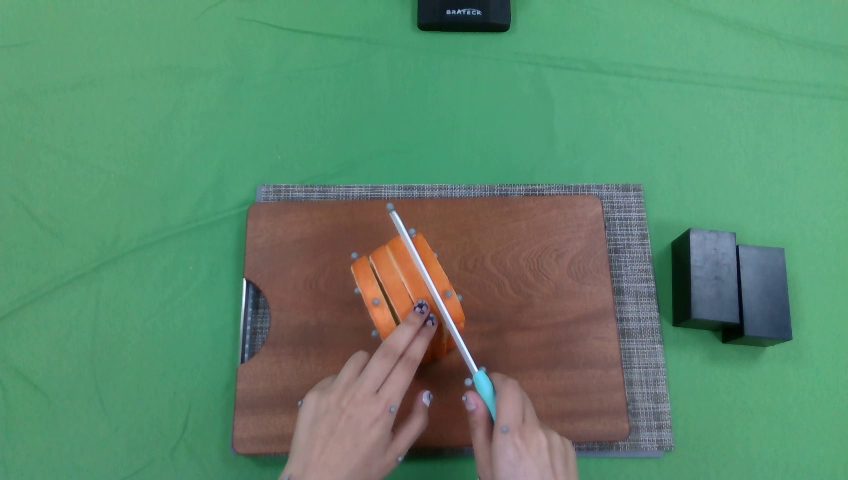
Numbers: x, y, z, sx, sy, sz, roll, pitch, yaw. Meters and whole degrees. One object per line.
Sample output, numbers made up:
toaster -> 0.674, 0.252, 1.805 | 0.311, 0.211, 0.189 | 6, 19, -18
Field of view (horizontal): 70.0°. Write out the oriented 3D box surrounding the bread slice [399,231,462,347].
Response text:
bread slice -> 0.005, 0.049, 0.586 | 0.018, 0.135, 0.106 | -27, 78, -10

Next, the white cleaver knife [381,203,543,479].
white cleaver knife -> 0.034, 0.096, 0.511 | 0.021, 0.066, 0.286 | -26, 90, -7

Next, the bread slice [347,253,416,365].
bread slice -> -0.042, 0.066, 0.582 | 0.019, 0.132, 0.104 | -26, 72, -3
